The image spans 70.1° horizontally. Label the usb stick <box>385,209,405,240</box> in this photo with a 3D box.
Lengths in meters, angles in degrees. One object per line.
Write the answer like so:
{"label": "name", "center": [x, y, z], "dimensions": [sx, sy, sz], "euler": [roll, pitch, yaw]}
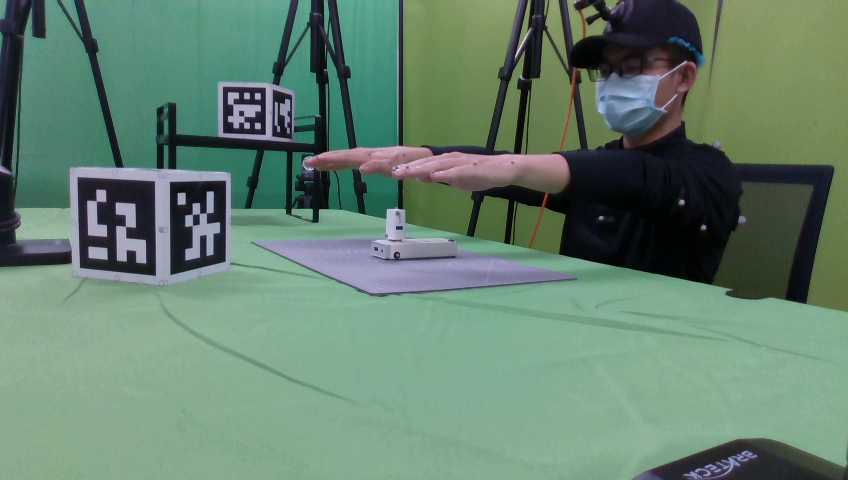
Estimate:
{"label": "usb stick", "center": [-0.044, -0.016, 0.892], "dimensions": [0.021, 0.059, 0.027], "euler": [-2, 10, -35]}

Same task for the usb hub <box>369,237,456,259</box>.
{"label": "usb hub", "center": [-0.016, 0.012, 0.909], "dimensions": [0.126, 0.025, 0.049], "euler": [-2, 9, -32]}
